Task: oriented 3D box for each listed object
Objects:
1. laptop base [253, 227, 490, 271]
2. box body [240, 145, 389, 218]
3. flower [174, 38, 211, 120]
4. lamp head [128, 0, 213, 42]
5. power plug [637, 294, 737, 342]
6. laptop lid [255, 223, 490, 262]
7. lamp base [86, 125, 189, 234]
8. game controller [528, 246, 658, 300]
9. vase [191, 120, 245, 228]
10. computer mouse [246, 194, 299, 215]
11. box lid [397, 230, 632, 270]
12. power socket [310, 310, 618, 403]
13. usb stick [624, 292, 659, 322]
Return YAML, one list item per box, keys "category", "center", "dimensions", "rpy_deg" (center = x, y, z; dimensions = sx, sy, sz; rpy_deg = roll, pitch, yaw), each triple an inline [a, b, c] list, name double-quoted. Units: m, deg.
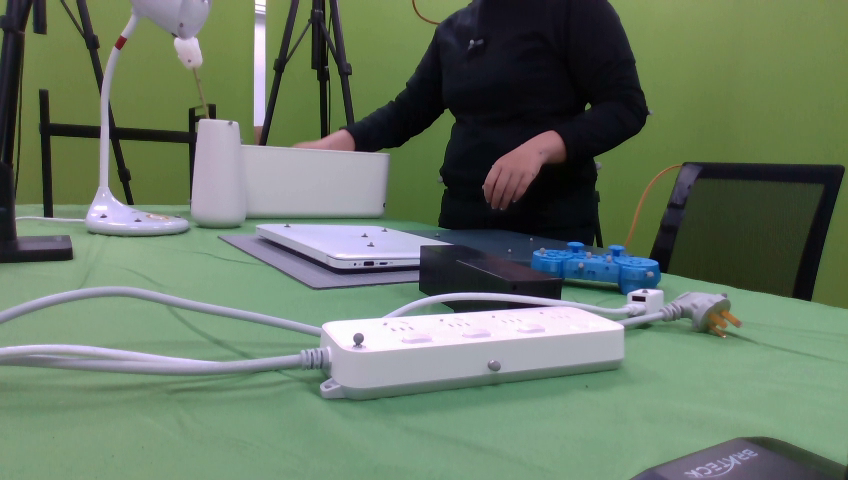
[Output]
- category: "laptop base"
  center: [-0.096, 0.012, 0.911]
  dimensions: [0.237, 0.023, 0.352]
  rpy_deg: [2, 6, -32]
- category: "box body"
  center: [-0.297, -0.143, 1.474]
  dimensions: [0.366, 0.160, 0.253]
  rpy_deg: [-1, 9, -30]
- category: "flower"
  center: [-0.401, -0.207, 1.141]
  dimensions: [0.038, 0.361, 0.044]
  rpy_deg: [-14, 3, 44]
- category: "lamp head"
  center: [-0.423, -0.394, 0.980]
  dimensions: [0.123, 0.112, 0.112]
  rpy_deg: [20, 7, -3]
- category: "power plug"
  center: [0.235, 0.077, 0.536]
  dimensions: [0.072, 0.035, 0.052]
  rpy_deg: [-34, 41, -3]
- category: "laptop lid"
  center: [-0.093, 0.000, 0.911]
  dimensions: [0.243, 0.013, 0.355]
  rpy_deg: [1, 7, -30]
- category: "lamp base"
  center: [-0.497, -0.105, 1.027]
  dimensions: [0.179, 0.180, 0.160]
  rpy_deg: [1, 7, 2]
- category: "game controller"
  center: [0.202, 0.036, 0.733]
  dimensions: [0.155, 0.051, 0.097]
  rpy_deg: [5, 10, 20]
- category: "vase"
  center: [-0.389, -0.124, 1.142]
  dimensions: [0.098, 0.200, 0.098]
  rpy_deg: [3, 9, 0]
- category: "computer mouse"
  center: [-0.346, -0.081, 1.381]
  dimensions: [0.118, 0.041, 0.062]
  rpy_deg: [-13, 13, -29]
- category: "box lid"
  center: [0.140, 0.012, 1.045]
  dimensions: [0.265, 0.015, 0.369]
  rpy_deg: [-1, 8, -32]
- category: "power socket"
  center: [0.033, 0.074, 0.415]
  dimensions: [0.228, 0.032, 0.072]
  rpy_deg: [-1, 7, -24]
- category: "usb stick"
  center: [0.211, 0.064, 0.580]
  dimensions: [0.021, 0.027, 0.059]
  rpy_deg: [-2, -4, 36]
